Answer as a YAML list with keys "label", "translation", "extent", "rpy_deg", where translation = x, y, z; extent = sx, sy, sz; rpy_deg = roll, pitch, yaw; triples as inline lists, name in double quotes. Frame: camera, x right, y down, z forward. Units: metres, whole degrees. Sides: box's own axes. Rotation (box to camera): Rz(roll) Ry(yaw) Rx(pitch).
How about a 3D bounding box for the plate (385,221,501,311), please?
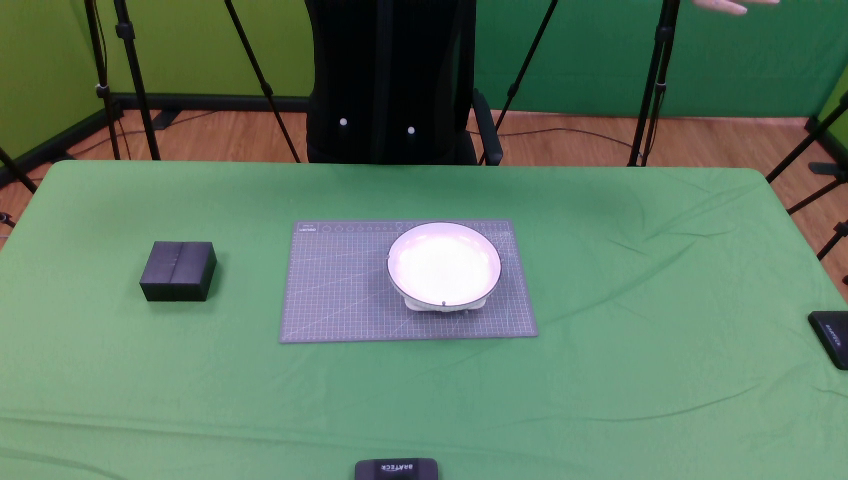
- label: "plate"
  translation: [0.034, 0.049, 1.096]
  extent: [0.209, 0.038, 0.208]
  rpy_deg: [2, 46, -2]

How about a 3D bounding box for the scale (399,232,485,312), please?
- label: "scale"
  translation: [0.031, 0.050, 1.141]
  extent: [0.149, 0.032, 0.199]
  rpy_deg: [-1, 46, -5]
